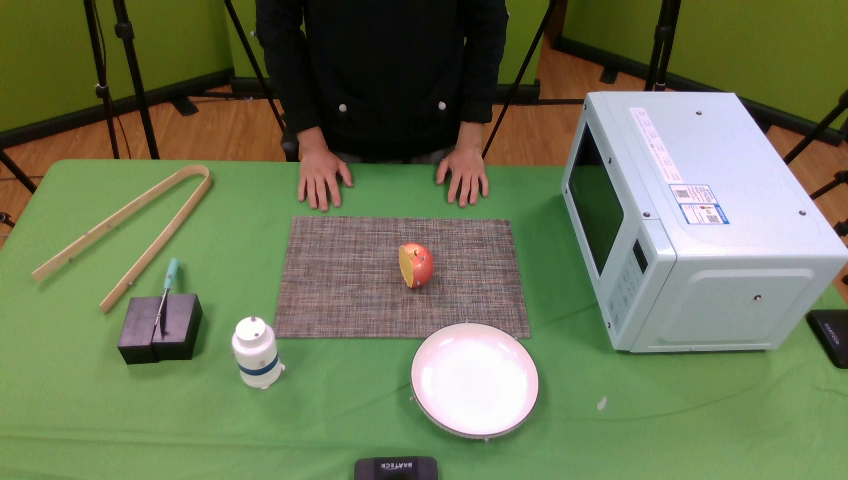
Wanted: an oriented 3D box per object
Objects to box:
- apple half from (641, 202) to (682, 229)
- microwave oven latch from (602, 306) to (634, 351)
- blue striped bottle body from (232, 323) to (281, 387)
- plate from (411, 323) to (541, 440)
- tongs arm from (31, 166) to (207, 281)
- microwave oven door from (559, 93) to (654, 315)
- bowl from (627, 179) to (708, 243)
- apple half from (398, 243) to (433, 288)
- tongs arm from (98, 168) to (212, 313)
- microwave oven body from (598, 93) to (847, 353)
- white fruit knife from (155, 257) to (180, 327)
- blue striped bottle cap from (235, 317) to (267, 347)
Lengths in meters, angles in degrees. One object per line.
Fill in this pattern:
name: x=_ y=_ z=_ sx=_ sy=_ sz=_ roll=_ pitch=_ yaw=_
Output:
apple half: x=0.456 y=-0.054 z=1.160 sx=0.081 sy=0.033 sz=0.081 roll=-3 pitch=33 yaw=2
microwave oven latch: x=0.332 y=0.153 z=1.044 sx=0.030 sy=0.029 sz=0.078 roll=-1 pitch=45 yaw=-4
blue striped bottle body: x=-0.262 y=0.172 z=0.944 sx=0.063 sy=0.121 sz=0.062 roll=2 pitch=46 yaw=-2
plate: x=0.082 y=0.228 z=0.976 sx=0.208 sy=0.039 sz=0.206 roll=2 pitch=45 yaw=-2
tongs arm: x=-0.578 y=-0.040 z=1.184 sx=0.050 sy=0.026 sz=0.384 roll=23 pitch=48 yaw=17
microwave oven door: x=0.327 y=-0.074 z=1.123 sx=0.039 sy=0.245 sz=0.353 roll=-1 pitch=46 yaw=-5
bowl: x=0.456 y=-0.047 z=1.168 sx=0.151 sy=0.077 sz=0.150 roll=7 pitch=36 yaw=-5
apple half: x=-0.012 y=0.046 z=1.115 sx=0.053 sy=0.075 sz=0.080 roll=-11 pitch=44 yaw=-20
tongs arm: x=-0.503 y=-0.012 z=1.167 sx=0.028 sy=0.028 sz=0.385 roll=11 pitch=46 yaw=11
microwave oven body: x=0.475 y=-0.041 z=1.109 sx=0.326 sy=0.261 sz=0.438 roll=-1 pitch=45 yaw=-4
white fruit knife: x=-0.440 y=0.085 z=1.037 sx=0.016 sy=0.027 sz=0.206 roll=10 pitch=26 yaw=-19
blue striped bottle cap: x=-0.259 y=0.137 z=0.907 sx=0.044 sy=0.021 sz=0.044 roll=2 pitch=43 yaw=-2
